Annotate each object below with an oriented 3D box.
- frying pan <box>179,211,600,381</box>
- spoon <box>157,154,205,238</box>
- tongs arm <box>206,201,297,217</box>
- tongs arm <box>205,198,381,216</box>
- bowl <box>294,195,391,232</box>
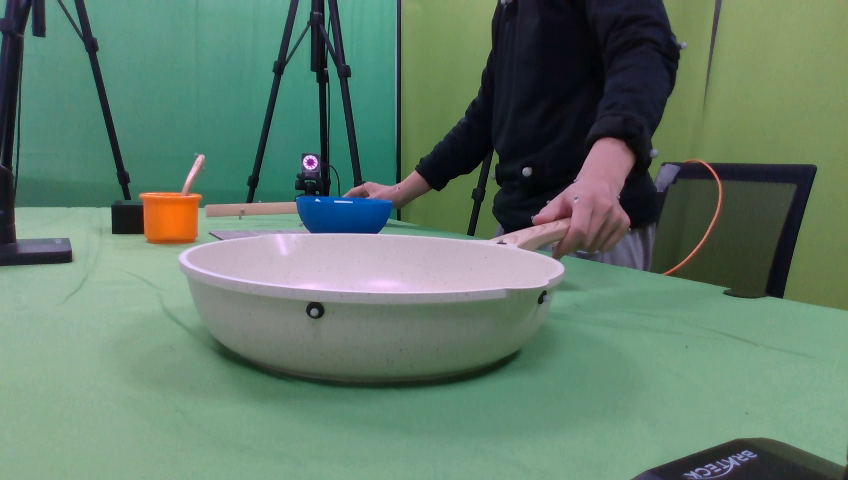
[{"bbox_3d":[0.034,0.019,0.557,0.305,0.102,0.490,11,19,44],"label":"frying pan"},{"bbox_3d":[-0.392,-0.076,0.998,0.041,0.193,0.021,1,-36,6],"label":"spoon"},{"bbox_3d":[-0.264,-0.071,1.296,0.389,0.027,0.028,-4,-1,-29],"label":"tongs arm"},{"bbox_3d":[-0.291,-0.075,1.367,0.386,0.026,0.050,-3,2,-17],"label":"tongs arm"},{"bbox_3d":[-0.127,-0.028,0.946,0.151,0.077,0.151,2,7,0],"label":"bowl"}]
